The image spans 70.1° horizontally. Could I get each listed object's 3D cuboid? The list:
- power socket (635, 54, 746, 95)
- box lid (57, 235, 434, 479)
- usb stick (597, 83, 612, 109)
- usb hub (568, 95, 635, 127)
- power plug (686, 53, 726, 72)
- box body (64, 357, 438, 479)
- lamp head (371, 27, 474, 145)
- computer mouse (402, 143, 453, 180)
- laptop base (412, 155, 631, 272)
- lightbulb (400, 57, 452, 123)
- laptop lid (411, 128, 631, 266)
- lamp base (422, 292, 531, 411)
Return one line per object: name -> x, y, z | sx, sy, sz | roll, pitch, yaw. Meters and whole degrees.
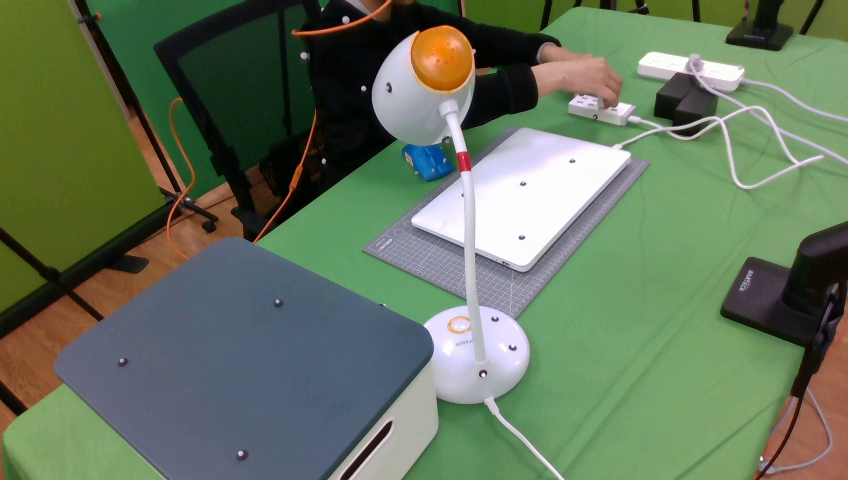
power socket -> 0.564, -0.357, 1.293 | 0.225, 0.033, 0.072 | 24, 51, 33
box lid -> -0.198, 0.123, 0.653 | 0.368, 0.015, 0.264 | 22, 49, 32
usb stick -> 0.360, -0.280, 1.204 | 0.021, 0.059, 0.027 | 22, 48, 34
usb hub -> 0.360, -0.263, 1.228 | 0.124, 0.025, 0.049 | 25, 49, 33
power plug -> 0.584, -0.361, 1.260 | 0.072, 0.053, 0.035 | 14, 55, 16
box body -> -0.189, 0.179, 0.702 | 0.361, 0.161, 0.255 | 22, 49, 32
lamp head -> 0.007, -0.167, 0.644 | 0.113, 0.112, 0.122 | -22, 2, -14
computer mouse -> 0.006, -0.159, 1.165 | 0.063, 0.041, 0.116 | -21, 45, -16
laptop base -> 0.176, -0.083, 1.055 | 0.233, 0.023, 0.355 | 21, 48, 36
lightbulb -> 0.003, -0.169, 0.668 | 0.059, 0.108, 0.059 | 1, 79, -2
laptop lid -> 0.172, -0.093, 1.049 | 0.239, 0.013, 0.358 | 24, 50, 36
lamp base -> 0.054, 0.095, 0.740 | 0.161, 0.181, 0.177 | -19, 43, -11
